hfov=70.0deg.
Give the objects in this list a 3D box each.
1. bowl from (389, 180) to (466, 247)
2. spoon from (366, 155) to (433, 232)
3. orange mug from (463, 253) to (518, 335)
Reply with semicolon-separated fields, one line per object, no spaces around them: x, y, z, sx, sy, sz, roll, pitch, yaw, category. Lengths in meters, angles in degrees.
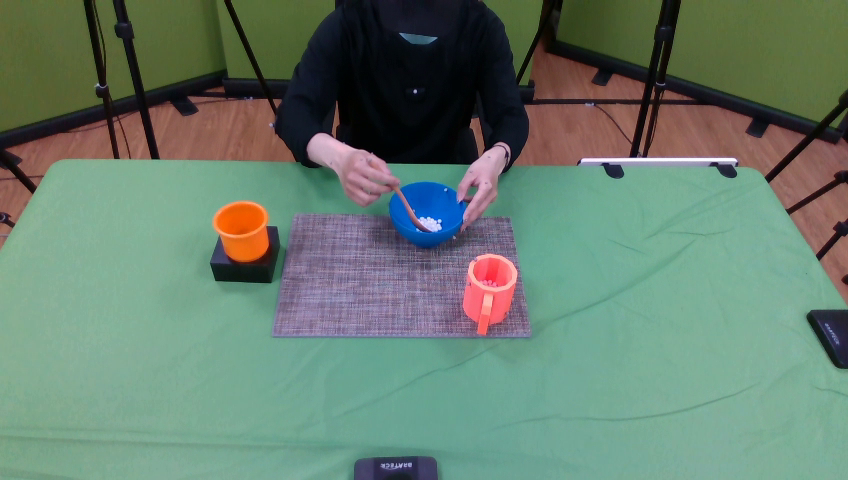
0.005;-0.039;1.190;0.151;0.077;0.150;2;46;-2;bowl
-0.045;-0.083;1.128;0.021;0.194;0.041;-43;21;-17;spoon
0.113;0.098;1.050;0.083;0.101;0.125;10;42;6;orange mug
